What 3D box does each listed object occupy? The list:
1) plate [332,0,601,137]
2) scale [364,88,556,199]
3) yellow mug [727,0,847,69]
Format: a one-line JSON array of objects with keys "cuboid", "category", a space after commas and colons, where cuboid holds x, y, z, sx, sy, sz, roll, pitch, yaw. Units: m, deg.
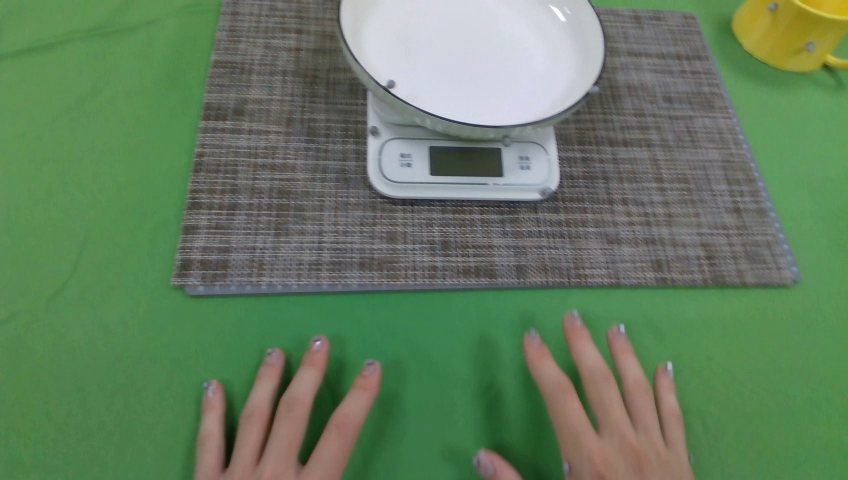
[{"cuboid": [0.033, -0.161, 0.477, 0.209, 0.038, 0.207, 4, 61, -6], "category": "plate"}, {"cuboid": [0.026, -0.124, 0.493, 0.149, 0.032, 0.199, 1, 61, -7], "category": "scale"}, {"cuboid": [0.366, -0.214, 0.575, 0.130, 0.064, 0.100, 41, 64, 14], "category": "yellow mug"}]
